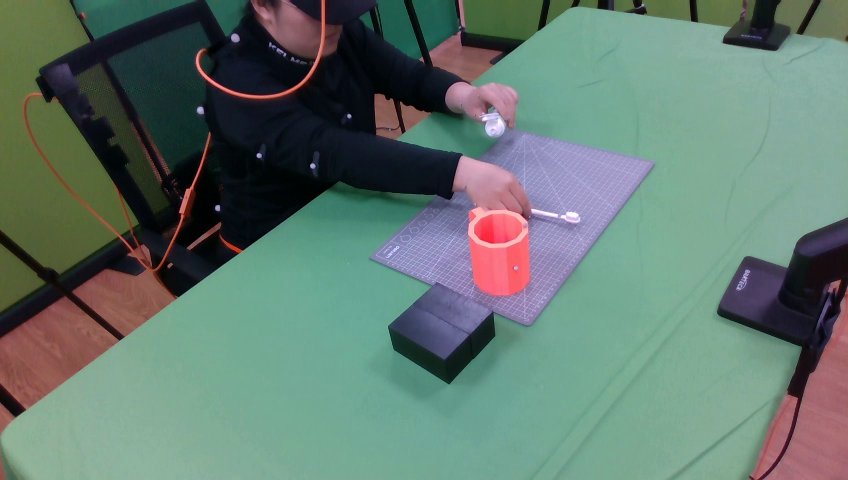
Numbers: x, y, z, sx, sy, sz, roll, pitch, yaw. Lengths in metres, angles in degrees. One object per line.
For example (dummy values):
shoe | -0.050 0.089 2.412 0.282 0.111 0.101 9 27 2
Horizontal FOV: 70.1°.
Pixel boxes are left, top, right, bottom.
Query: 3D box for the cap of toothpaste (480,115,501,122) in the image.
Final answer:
cap of toothpaste | 0.115 -0.210 1.039 0.037 0.011 0.037 -4 7 1

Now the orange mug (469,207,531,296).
orange mug | 0.104 0.008 0.894 0.084 0.101 0.125 -22 46 -14

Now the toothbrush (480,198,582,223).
toothbrush | 0.174 -0.052 1.010 0.180 0.017 0.014 13 64 28

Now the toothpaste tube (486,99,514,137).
toothpaste tube | 0.141 -0.226 1.125 0.034 0.055 0.165 -25 14 24
